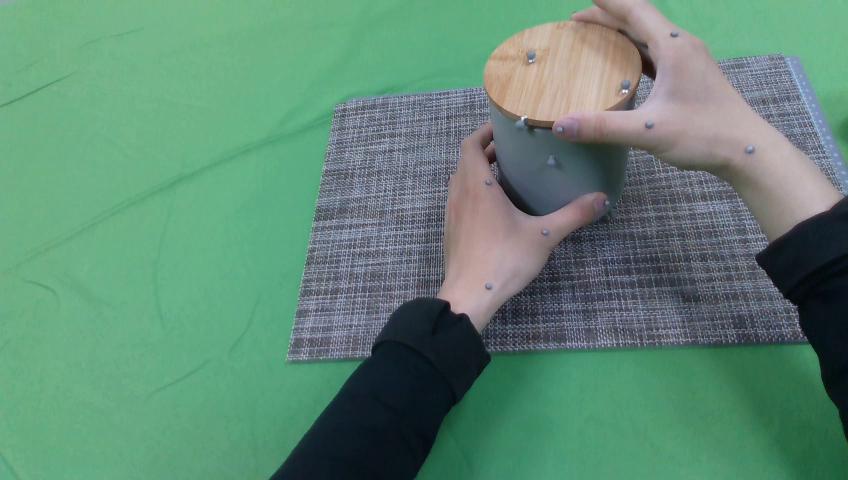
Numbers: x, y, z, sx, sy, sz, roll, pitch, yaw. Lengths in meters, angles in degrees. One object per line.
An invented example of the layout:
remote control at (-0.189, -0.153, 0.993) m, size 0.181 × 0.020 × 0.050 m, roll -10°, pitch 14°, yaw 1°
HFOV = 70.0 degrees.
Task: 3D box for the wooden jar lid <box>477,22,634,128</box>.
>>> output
wooden jar lid at (0.092, -0.115, 0.430) m, size 0.108 × 0.021 × 0.107 m, roll -5°, pitch 54°, yaw 8°

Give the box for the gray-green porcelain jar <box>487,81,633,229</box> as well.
gray-green porcelain jar at (0.106, -0.079, 0.482) m, size 0.106 × 0.128 × 0.105 m, roll -5°, pitch 54°, yaw 8°
